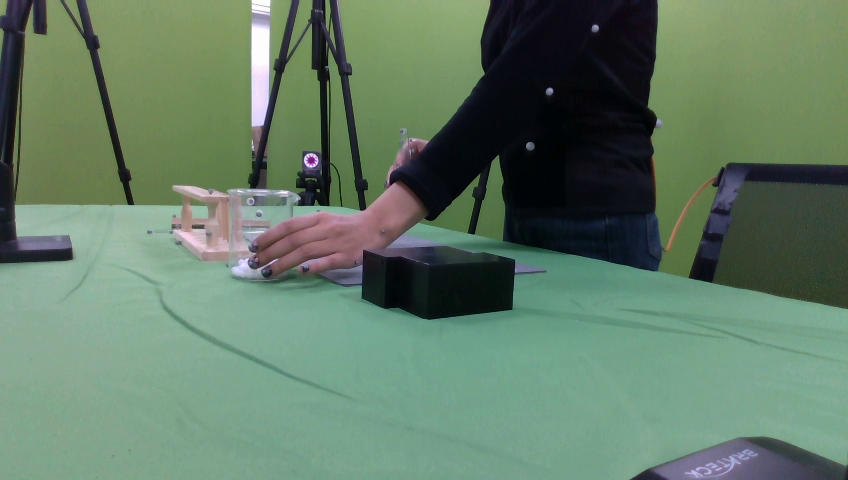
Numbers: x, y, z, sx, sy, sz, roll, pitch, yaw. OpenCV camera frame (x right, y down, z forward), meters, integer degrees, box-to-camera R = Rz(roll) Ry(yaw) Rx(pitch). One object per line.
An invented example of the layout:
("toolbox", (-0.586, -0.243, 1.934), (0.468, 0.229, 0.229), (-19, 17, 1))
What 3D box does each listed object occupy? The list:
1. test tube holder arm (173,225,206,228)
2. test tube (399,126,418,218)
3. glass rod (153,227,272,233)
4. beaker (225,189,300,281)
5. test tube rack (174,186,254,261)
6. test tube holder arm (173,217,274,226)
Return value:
("test tube holder arm", (-0.414, -0.030, 1.113), (0.088, 0.015, 0.010), (-1, -22, -25))
("test tube", (-0.025, -0.111, 0.990), (0.017, 0.150, 0.017), (-7, 3, 1))
("glass rod", (-0.368, -0.017, 1.065), (0.201, 0.008, 0.008), (-2, 8, -27))
("beaker", (-0.185, -0.008, 0.694), (0.084, 0.100, 0.073), (-2, 8, -29))
("test tube rack", (-0.314, -0.031, 0.889), (0.067, 0.085, 0.241), (-2, 8, -30))
("test tube holder arm", (-0.371, -0.033, 1.127), (0.179, 0.015, 0.013), (-1, -22, -25))
